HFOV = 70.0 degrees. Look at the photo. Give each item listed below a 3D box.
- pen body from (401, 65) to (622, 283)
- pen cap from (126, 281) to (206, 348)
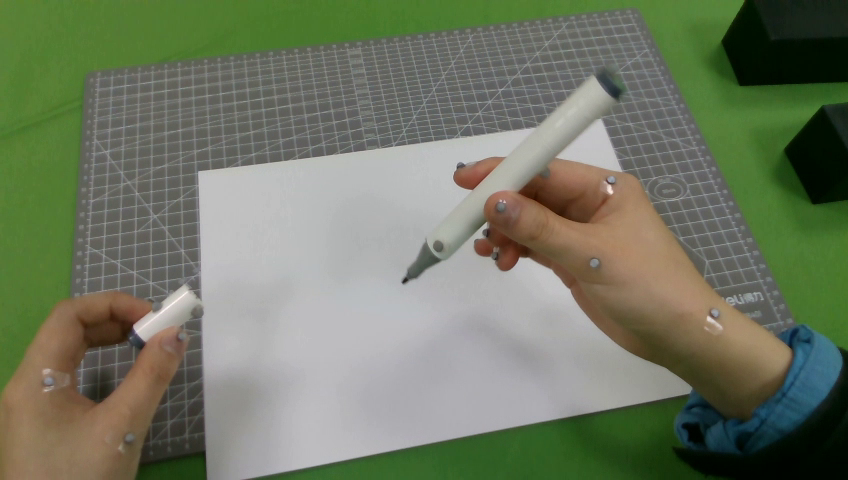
[{"bbox_3d":[0.033,-0.022,0.282,0.017,0.144,0.016,31,32,-22],"label":"pen body"},{"bbox_3d":[-0.132,0.039,0.309,0.038,0.017,0.017,-38,69,-11],"label":"pen cap"}]
